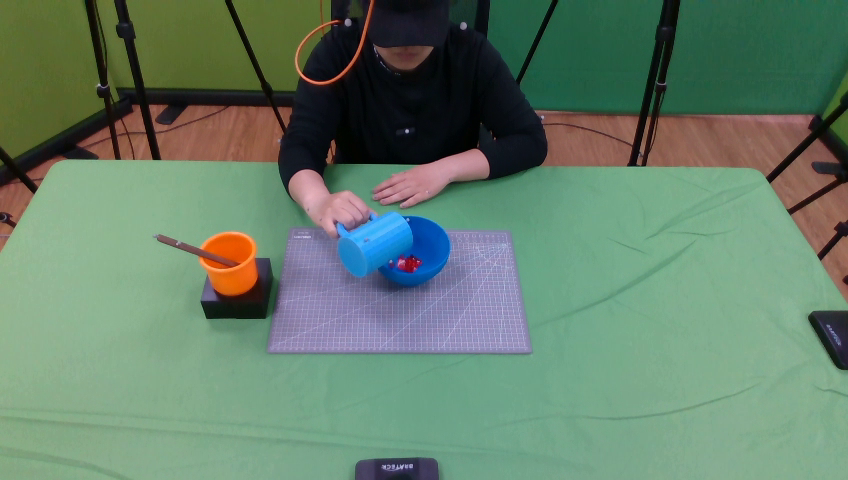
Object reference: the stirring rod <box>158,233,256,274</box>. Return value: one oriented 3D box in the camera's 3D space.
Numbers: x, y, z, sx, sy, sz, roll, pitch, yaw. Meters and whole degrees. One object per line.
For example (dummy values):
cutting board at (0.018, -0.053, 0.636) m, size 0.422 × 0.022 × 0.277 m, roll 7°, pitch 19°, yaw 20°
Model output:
stirring rod at (-0.353, 0.024, 1.000) m, size 0.177 × 0.006 × 0.014 m, roll 26°, pitch 32°, yaw -40°

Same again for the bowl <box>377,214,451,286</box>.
bowl at (-0.028, 0.031, 1.122) m, size 0.151 × 0.077 × 0.150 m, roll 2°, pitch 46°, yaw -2°

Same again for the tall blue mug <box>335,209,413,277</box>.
tall blue mug at (-0.091, -0.008, 1.030) m, size 0.108 × 0.078 × 0.107 m, roll -32°, pitch 95°, yaw -36°
